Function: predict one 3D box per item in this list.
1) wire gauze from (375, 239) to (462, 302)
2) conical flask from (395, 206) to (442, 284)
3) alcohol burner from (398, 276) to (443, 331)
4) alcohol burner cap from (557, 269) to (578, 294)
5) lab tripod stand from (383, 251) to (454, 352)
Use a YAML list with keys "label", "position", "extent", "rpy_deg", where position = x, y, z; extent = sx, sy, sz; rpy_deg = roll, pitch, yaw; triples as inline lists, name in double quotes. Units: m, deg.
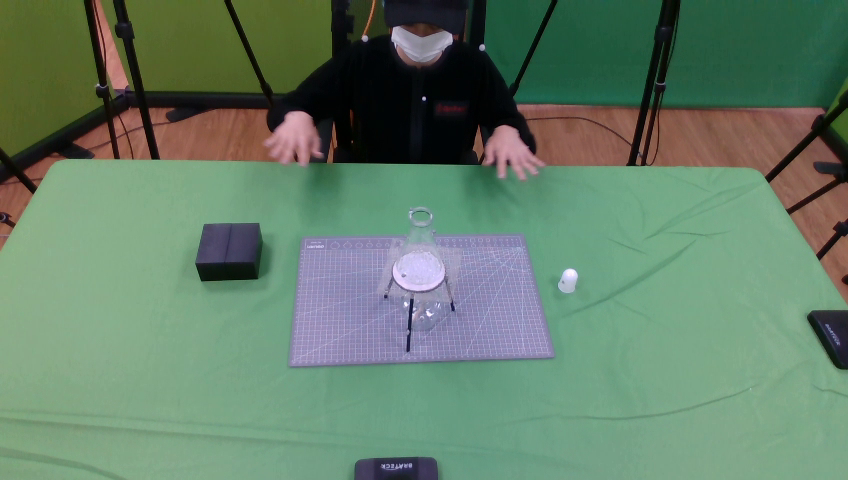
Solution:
- label: "wire gauze"
  position: [-0.006, 0.049, 0.977]
  extent: [0.121, 0.011, 0.124]
  rpy_deg: [10, 44, 5]
- label: "conical flask"
  position: [-0.007, 0.005, 0.937]
  extent: [0.075, 0.122, 0.075]
  rpy_deg: [2, 45, -1]
- label: "alcohol burner"
  position: [-0.005, 0.100, 1.033]
  extent: [0.078, 0.119, 0.077]
  rpy_deg: [3, 48, -3]
- label: "alcohol burner cap"
  position: [0.270, 0.074, 1.135]
  extent: [0.034, 0.048, 0.033]
  rpy_deg: [3, 46, -2]
- label: "lab tripod stand"
  position: [-0.015, 0.094, 1.025]
  extent: [0.148, 0.132, 0.147]
  rpy_deg: [1, 46, -1]
